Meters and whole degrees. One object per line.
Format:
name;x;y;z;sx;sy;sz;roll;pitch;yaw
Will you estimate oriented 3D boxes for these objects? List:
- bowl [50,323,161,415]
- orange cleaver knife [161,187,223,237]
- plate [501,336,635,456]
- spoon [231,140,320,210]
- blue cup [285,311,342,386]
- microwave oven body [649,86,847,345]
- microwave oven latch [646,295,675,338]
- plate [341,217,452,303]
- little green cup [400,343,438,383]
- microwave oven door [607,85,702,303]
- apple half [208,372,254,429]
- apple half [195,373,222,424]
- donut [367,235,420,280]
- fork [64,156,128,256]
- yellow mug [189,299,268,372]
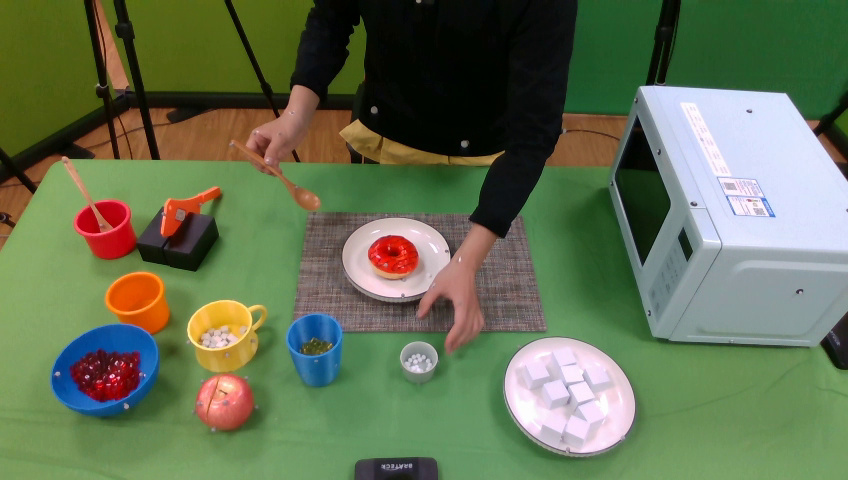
bowl;-0.472;0.209;0.924;0.151;0.077;0.150;2;45;-2
orange cleaver knife;-0.448;-0.058;1.180;0.012;0.077;0.211;13;17;6
plate;0.225;0.249;0.963;0.208;0.039;0.206;2;46;-2
spoon;-0.271;-0.121;1.111;0.194;0.021;0.041;42;50;-25
blue cup;-0.170;0.180;0.958;0.093;0.101;0.092;2;44;-1
microwave oven body;0.568;-0.053;1.118;0.326;0.261;0.439;2;45;-1
microwave oven latch;0.412;0.134;1.061;0.030;0.029;0.078;3;45;1
plate;-0.052;0.040;1.140;0.209;0.038;0.208;2;46;-2
little green cup;-0.009;0.202;0.991;0.061;0.039;0.061;2;46;-2
microwave oven door;0.424;-0.094;1.140;0.039;0.245;0.353;2;46;-1
apple half;-0.282;0.244;0.907;0.053;0.075;0.080;7;43;-1
apple half;-0.322;0.240;0.907;0.033;0.081;0.081;6;46;0
donut;-0.057;0.032;1.131;0.099;0.048;0.098;3;45;-3
fork;-0.614;-0.064;1.129;0.028;0.018;0.207;-30;97;-17
yellow mug;-0.315;0.148;1.001;0.131;0.064;0.099;-33;56;-31
